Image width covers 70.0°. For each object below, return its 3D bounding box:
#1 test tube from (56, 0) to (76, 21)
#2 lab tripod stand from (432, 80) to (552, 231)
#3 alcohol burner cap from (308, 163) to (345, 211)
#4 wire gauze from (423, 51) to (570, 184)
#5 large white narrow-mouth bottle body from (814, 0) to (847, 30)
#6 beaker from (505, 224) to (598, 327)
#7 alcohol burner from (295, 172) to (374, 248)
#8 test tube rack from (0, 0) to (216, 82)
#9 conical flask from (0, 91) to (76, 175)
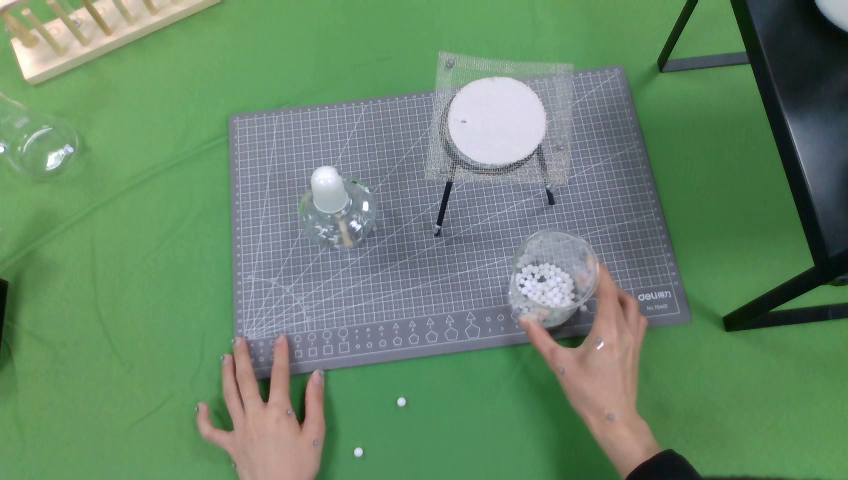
[{"bbox_3d":[-0.418,-0.294,0.648,0.017,0.151,0.017,-1,65,2],"label":"test tube"},{"bbox_3d":[0.061,-0.080,0.585,0.148,0.132,0.147,0,70,1],"label":"lab tripod stand"},{"bbox_3d":[-0.090,-0.051,0.553,0.034,0.048,0.033,1,63,-2],"label":"alcohol burner cap"},{"bbox_3d":[0.065,-0.107,0.523,0.121,0.011,0.124,6,72,2],"label":"wire gauze"},{"bbox_3d":[0.360,-0.235,0.409,0.102,0.196,0.101,-1,71,3],"label":"large white narrow-mouth bottle body"},{"bbox_3d":[0.111,0.040,0.562,0.084,0.101,0.073,-30,72,-7],"label":"beaker"},{"bbox_3d":[-0.089,-0.037,0.586,0.078,0.120,0.077,0,69,1],"label":"alcohol burner"},{"bbox_3d":[-0.373,-0.280,0.694,0.242,0.086,0.066,-27,72,-7],"label":"test tube rack"},{"bbox_3d":[-0.428,-0.124,0.624,0.075,0.122,0.075,-1,71,2],"label":"conical flask"}]
